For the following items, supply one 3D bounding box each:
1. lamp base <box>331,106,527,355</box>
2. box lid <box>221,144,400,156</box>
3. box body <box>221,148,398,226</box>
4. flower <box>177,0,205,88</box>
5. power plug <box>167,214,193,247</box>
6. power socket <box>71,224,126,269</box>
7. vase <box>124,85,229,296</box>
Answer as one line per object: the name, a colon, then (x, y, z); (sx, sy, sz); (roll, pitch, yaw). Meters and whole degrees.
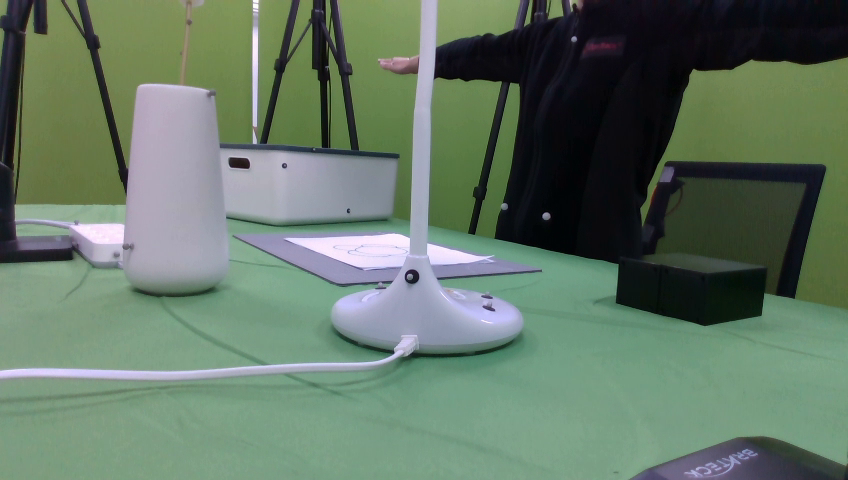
lamp base: (0.006, -0.012, 0.478); (0.161, 0.180, 0.179); (2, 10, 2)
box lid: (-0.263, -0.202, 1.369); (0.262, 0.015, 0.373); (9, 10, 39)
box body: (-0.264, -0.129, 1.380); (0.253, 0.160, 0.366); (8, 9, 39)
flower: (-0.243, -0.131, 0.609); (0.044, 0.361, 0.038); (-5, -12, 10)
power plug: (-0.364, -0.009, 0.911); (0.035, 0.052, 0.072); (13, -23, -4)
power socket: (-0.409, 0.004, 0.792); (0.072, 0.032, 0.225); (-2, 8, -37)
vase: (-0.244, -0.047, 0.598); (0.098, 0.200, 0.098); (3, 8, 0)
